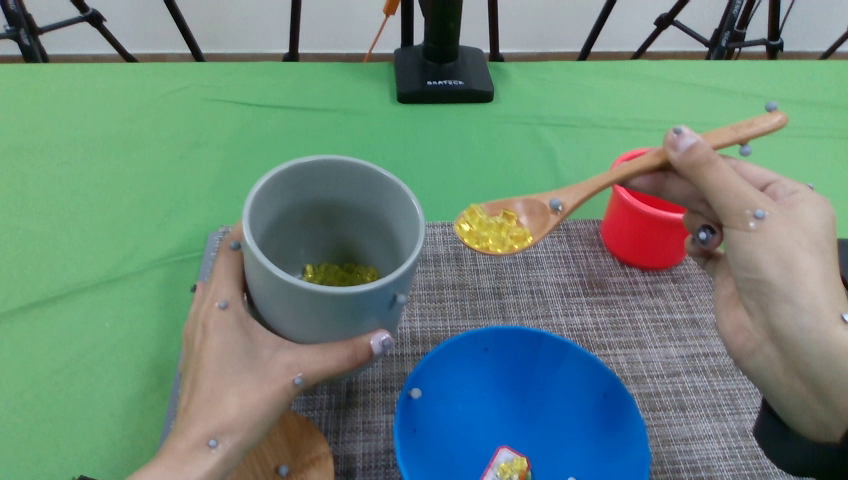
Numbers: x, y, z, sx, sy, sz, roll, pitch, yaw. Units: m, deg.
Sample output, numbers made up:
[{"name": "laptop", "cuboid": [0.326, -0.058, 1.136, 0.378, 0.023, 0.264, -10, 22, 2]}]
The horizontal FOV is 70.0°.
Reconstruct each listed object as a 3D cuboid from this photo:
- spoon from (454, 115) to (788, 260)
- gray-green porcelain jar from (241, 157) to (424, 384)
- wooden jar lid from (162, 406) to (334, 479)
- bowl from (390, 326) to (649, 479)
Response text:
[{"name": "spoon", "cuboid": [0.109, -0.032, 0.332, 0.194, 0.022, 0.041, -22, 46, 3]}, {"name": "gray-green porcelain jar", "cuboid": [-0.063, 0.027, 0.397, 0.106, 0.127, 0.105, 7, 51, -9]}, {"name": "wooden jar lid", "cuboid": [-0.112, 0.160, 0.390, 0.108, 0.021, 0.107, 1, 45, -1]}, {"name": "bowl", "cuboid": [0.054, 0.137, 0.381, 0.151, 0.077, 0.150, 2, 46, -2]}]
